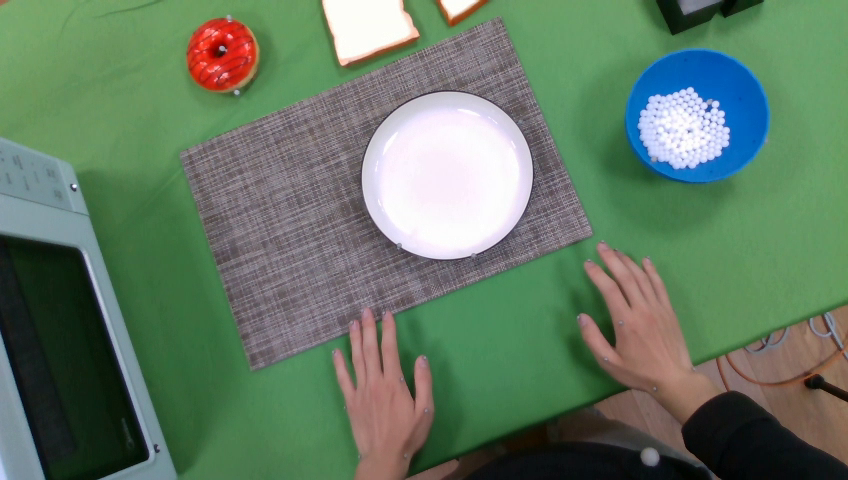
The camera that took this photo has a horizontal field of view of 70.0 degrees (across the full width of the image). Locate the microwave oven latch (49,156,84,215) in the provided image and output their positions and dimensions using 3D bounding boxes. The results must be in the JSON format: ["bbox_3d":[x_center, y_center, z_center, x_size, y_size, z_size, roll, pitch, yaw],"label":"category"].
[{"bbox_3d":[-0.463,-0.065,0.770,0.030,0.029,0.079,-24,82,3],"label":"microwave oven latch"}]

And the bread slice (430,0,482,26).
[{"bbox_3d":[0.033,-0.354,0.775,0.105,0.019,0.131,-36,82,1],"label":"bread slice"}]

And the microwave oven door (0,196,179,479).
[{"bbox_3d":[-0.392,0.121,0.639,0.039,0.244,0.354,-24,81,4],"label":"microwave oven door"}]

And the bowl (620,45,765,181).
[{"bbox_3d":[0.294,-0.134,0.691,0.151,0.077,0.151,-1,83,6],"label":"bowl"}]

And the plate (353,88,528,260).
[{"bbox_3d":[0.021,-0.077,0.732,0.207,0.039,0.207,-1,84,6],"label":"plate"}]

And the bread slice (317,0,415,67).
[{"bbox_3d":[-0.085,-0.298,0.782,0.107,0.018,0.134,-23,83,3],"label":"bread slice"}]

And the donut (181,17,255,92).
[{"bbox_3d":[-0.266,-0.239,0.783,0.099,0.048,0.099,-1,84,9],"label":"donut"}]

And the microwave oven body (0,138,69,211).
[{"bbox_3d":[-0.541,0.143,0.659,0.326,0.261,0.440,-24,82,3],"label":"microwave oven body"}]
